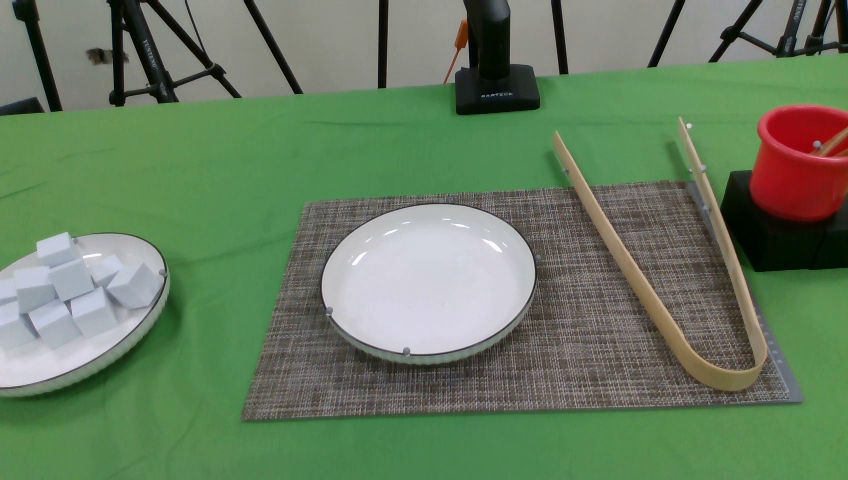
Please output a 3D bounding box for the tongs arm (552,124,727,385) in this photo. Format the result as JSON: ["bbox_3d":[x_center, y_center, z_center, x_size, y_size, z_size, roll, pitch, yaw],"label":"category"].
[{"bbox_3d":[0.197,-0.013,0.625,0.028,0.028,0.383,-6,42,-7],"label":"tongs arm"}]

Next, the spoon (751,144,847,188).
[{"bbox_3d":[0.368,-0.077,0.513,0.041,0.193,0.021,-27,87,-28],"label":"spoon"}]

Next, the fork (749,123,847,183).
[{"bbox_3d":[0.397,-0.106,0.543,0.207,0.019,0.028,-36,9,29],"label":"fork"}]

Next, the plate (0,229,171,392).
[{"bbox_3d":[-0.357,0.069,0.606,0.209,0.038,0.207,-3,41,3],"label":"plate"}]

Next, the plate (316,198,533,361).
[{"bbox_3d":[0.001,0.037,0.590,0.207,0.039,0.205,-3,42,3],"label":"plate"}]

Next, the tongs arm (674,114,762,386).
[{"bbox_3d":[0.279,-0.019,0.621,0.051,0.027,0.381,1,43,5],"label":"tongs arm"}]
